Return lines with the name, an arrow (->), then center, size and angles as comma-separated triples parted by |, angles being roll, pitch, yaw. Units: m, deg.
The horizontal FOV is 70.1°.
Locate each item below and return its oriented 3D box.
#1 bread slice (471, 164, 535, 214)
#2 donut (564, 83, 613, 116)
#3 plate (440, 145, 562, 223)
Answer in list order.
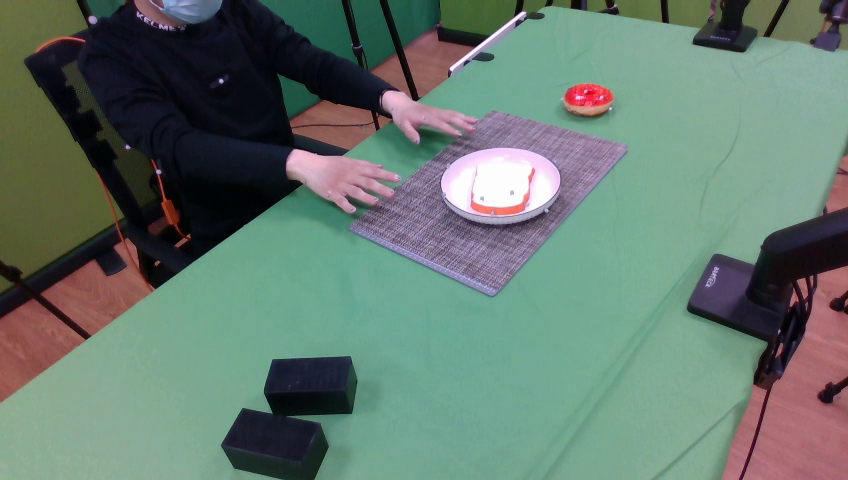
bread slice -> 0.134, -0.090, 1.038 | 0.104, 0.019, 0.131 | 3, 41, 13
donut -> 0.336, -0.288, 1.239 | 0.099, 0.048, 0.098 | -3, 38, 3
plate -> 0.131, -0.093, 1.040 | 0.207, 0.039, 0.206 | -4, 41, 4
